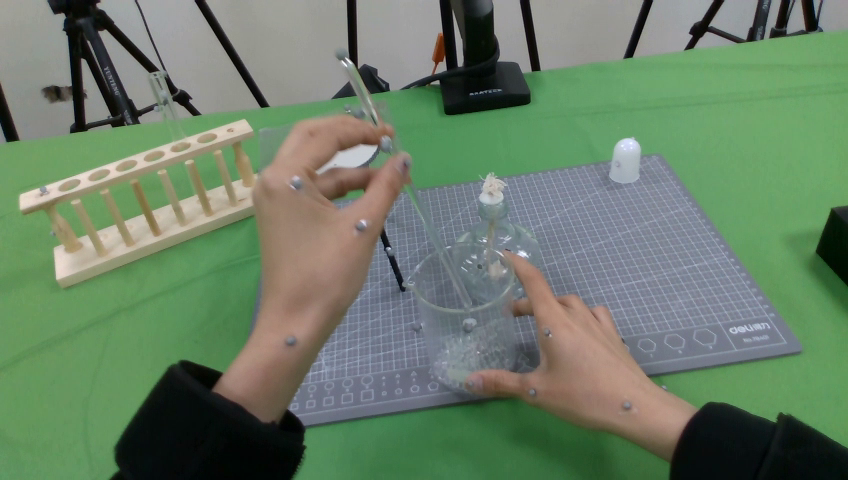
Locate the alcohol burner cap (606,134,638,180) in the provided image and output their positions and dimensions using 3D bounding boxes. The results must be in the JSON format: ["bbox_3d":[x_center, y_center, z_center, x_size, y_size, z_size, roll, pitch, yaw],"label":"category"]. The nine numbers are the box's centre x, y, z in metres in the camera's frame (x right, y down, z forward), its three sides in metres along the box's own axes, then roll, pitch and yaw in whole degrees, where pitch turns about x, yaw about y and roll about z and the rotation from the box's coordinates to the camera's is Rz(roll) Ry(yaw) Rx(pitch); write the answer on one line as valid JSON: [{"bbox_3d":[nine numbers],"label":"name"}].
[{"bbox_3d":[0.216,-0.092,0.658,0.034,0.048,0.033,-5,40,4],"label":"alcohol burner cap"}]

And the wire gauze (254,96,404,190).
[{"bbox_3d":[-0.087,-0.085,0.525,0.125,0.011,0.120,-12,40,-3],"label":"wire gauze"}]

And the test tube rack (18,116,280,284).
[{"bbox_3d":[-0.293,-0.048,0.666,0.242,0.086,0.066,-24,42,-18],"label":"test tube rack"}]

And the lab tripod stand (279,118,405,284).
[{"bbox_3d":[-0.078,-0.034,0.569,0.148,0.133,0.147,-5,42,5],"label":"lab tripod stand"}]

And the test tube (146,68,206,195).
[{"bbox_3d":[-0.269,-0.114,0.663,0.017,0.151,0.017,-4,37,4],"label":"test tube"}]

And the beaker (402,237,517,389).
[{"bbox_3d":[0.031,0.060,0.465,0.084,0.101,0.073,-3,40,8],"label":"beaker"}]

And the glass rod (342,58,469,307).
[{"bbox_3d":[-0.006,-0.022,0.374,0.008,0.202,0.008,-15,40,14],"label":"glass rod"}]

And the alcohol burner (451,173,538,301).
[{"bbox_3d":[0.060,-0.006,0.526,0.078,0.120,0.077,-5,38,4],"label":"alcohol burner"}]
